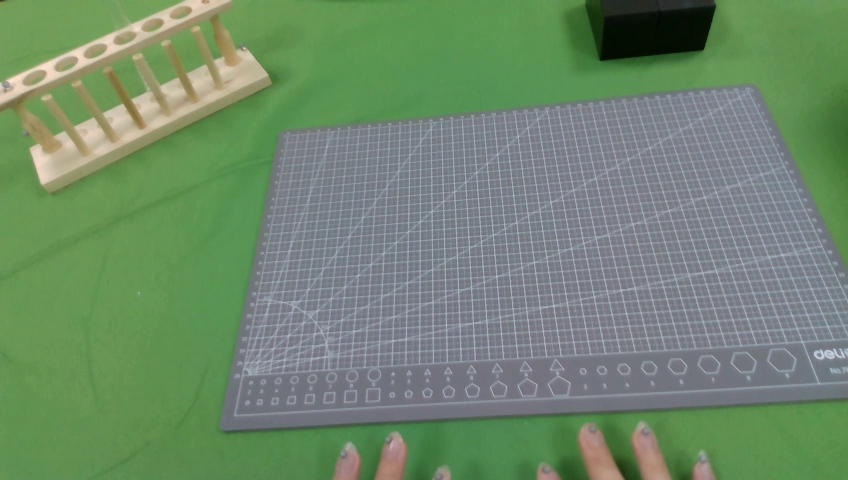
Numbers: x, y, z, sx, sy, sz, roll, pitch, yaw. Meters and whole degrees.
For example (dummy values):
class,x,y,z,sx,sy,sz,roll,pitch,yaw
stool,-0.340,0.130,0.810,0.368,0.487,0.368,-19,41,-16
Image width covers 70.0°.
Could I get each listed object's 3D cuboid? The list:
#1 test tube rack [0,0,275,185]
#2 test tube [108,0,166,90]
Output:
class,x,y,z,sx,sy,sz,roll,pitch,yaw
test tube rack,-0.281,-0.157,0.600,0.242,0.086,0.066,-30,56,-13
test tube,-0.280,-0.207,0.574,0.017,0.151,0.017,-3,49,3
